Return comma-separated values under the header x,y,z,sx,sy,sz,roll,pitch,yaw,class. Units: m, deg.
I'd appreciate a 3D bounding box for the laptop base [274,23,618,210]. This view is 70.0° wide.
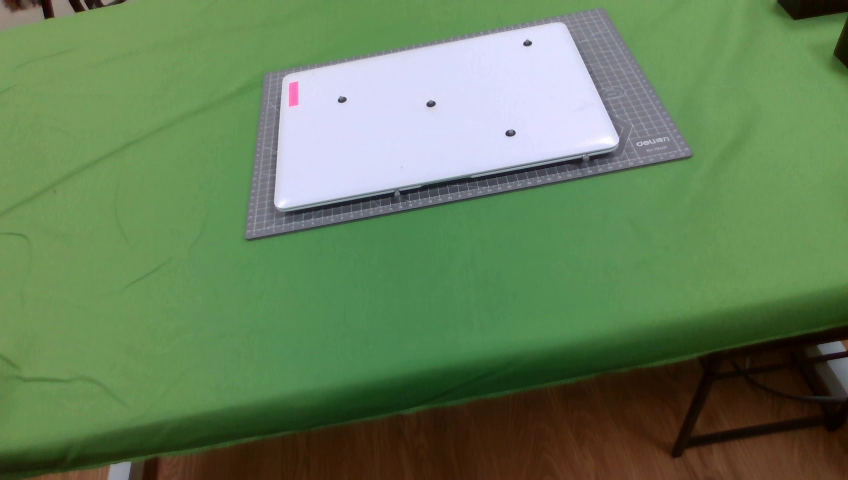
x,y,z,sx,sy,sz,roll,pitch,yaw,class
0.010,-0.144,0.681,0.354,0.023,0.233,-10,52,2,laptop base

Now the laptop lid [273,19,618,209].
x,y,z,sx,sy,sz,roll,pitch,yaw,class
0.009,-0.150,0.671,0.356,0.013,0.239,-9,51,4,laptop lid
